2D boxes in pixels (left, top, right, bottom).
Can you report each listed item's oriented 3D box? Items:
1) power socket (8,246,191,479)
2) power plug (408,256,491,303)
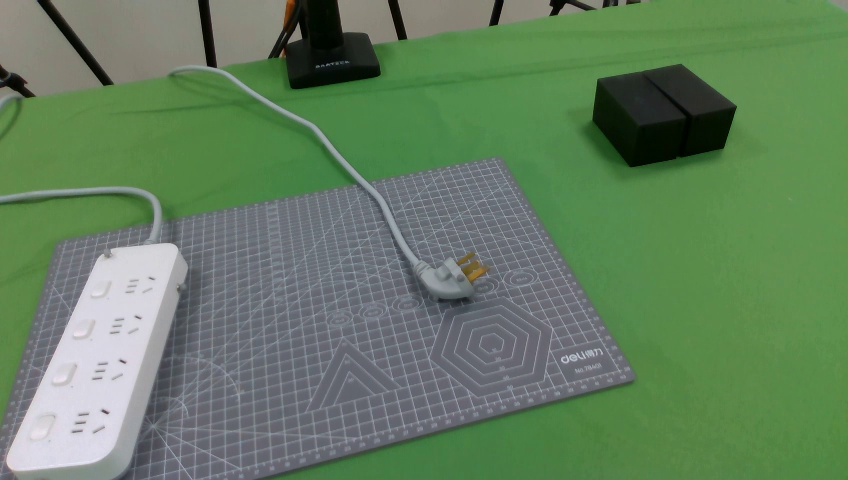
[{"bbox_3d":[-0.235,0.085,0.461,0.072,0.033,0.224,-5,42,-1],"label":"power socket"},{"bbox_3d":[0.019,0.021,0.503,0.052,0.035,0.072,-32,59,-5],"label":"power plug"}]
